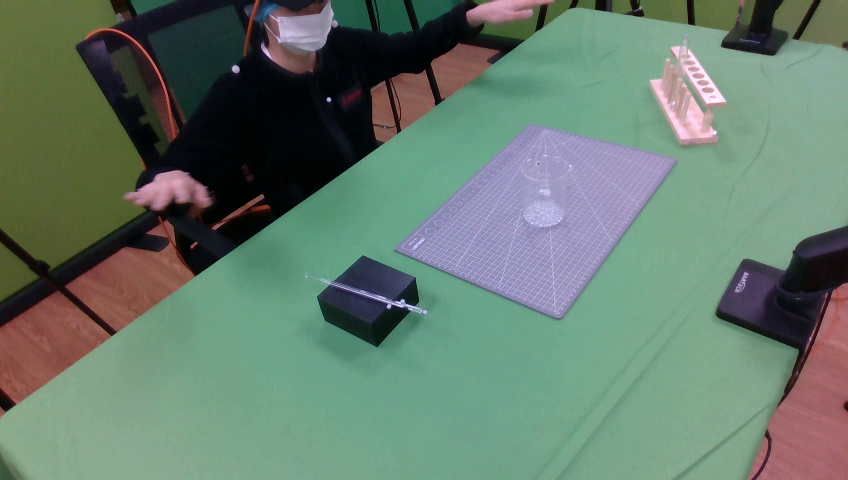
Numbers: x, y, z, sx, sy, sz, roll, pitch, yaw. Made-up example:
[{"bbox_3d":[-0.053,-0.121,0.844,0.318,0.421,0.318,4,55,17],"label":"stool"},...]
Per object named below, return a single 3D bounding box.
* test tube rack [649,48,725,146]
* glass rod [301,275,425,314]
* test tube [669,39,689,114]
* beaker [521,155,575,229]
[{"bbox_3d":[0.508,-0.285,1.186,0.067,0.085,0.241,-4,40,6],"label":"test tube rack"},{"bbox_3d":[-0.088,0.074,0.833,0.198,0.008,0.008,14,44,23],"label":"glass rod"},{"bbox_3d":[0.482,-0.308,1.146,0.017,0.151,0.017,-5,42,5],"label":"test tube"},{"bbox_3d":[0.197,-0.075,0.969,0.084,0.101,0.073,-6,40,2],"label":"beaker"}]
